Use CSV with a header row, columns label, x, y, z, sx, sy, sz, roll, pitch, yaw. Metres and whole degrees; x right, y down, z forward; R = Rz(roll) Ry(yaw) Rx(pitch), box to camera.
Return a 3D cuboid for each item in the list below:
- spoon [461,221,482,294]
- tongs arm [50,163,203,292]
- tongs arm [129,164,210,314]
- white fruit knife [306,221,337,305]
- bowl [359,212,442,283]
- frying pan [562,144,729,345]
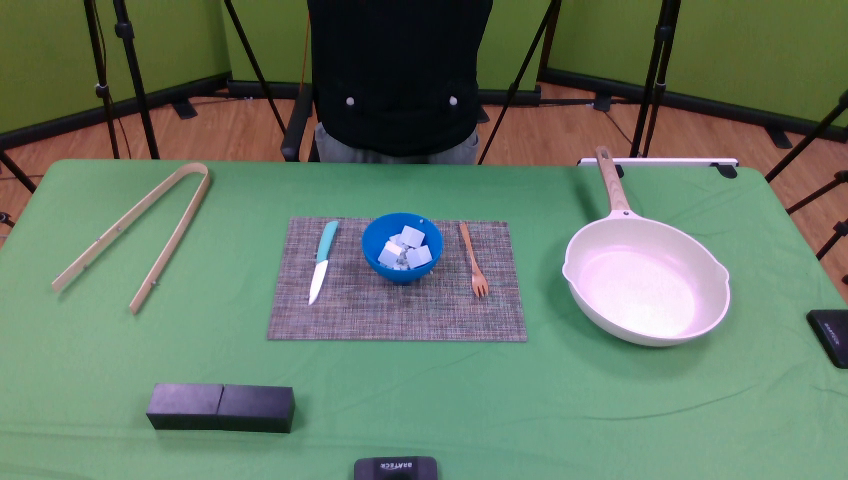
label,x,y,z,sx,sy,sz,roll,pitch,yaw
spoon,0.087,0.031,1.169,0.042,0.022,0.192,11,47,-14
tongs arm,-0.561,-0.036,1.178,0.050,0.026,0.383,17,46,11
tongs arm,-0.483,-0.016,1.170,0.028,0.028,0.385,5,46,4
white fruit knife,-0.196,0.040,1.143,0.027,0.016,0.206,-1,46,8
bowl,-0.044,0.026,1.125,0.151,0.077,0.150,2,46,-2
frying pan,0.396,-0.008,1.179,0.307,0.103,0.484,1,55,-4
